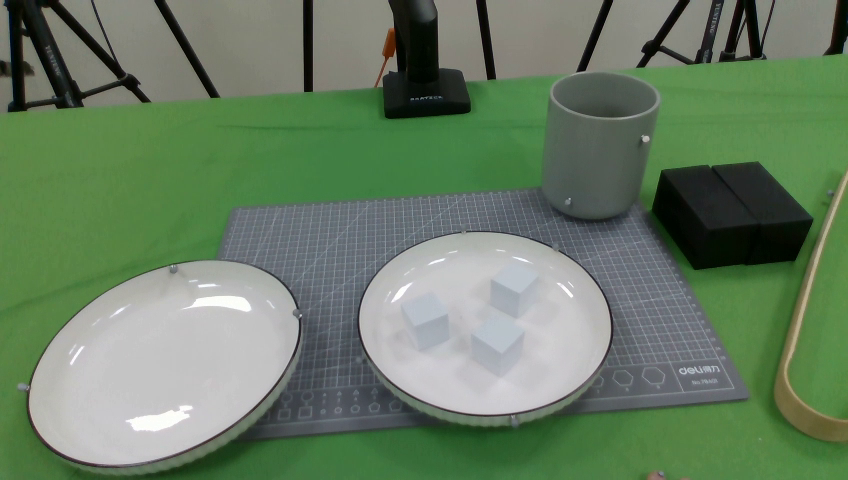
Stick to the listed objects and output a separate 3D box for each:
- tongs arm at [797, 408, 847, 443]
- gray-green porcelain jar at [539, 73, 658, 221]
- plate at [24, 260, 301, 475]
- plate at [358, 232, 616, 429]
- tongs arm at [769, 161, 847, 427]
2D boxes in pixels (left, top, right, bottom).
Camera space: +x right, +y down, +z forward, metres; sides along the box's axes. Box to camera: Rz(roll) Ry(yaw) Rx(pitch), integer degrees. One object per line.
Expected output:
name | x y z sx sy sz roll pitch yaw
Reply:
tongs arm | 0.430 0.051 0.516 0.385 0.027 0.050 -32 48 -29
gray-green porcelain jar | 0.175 -0.092 0.627 0.106 0.127 0.105 -2 40 2
plate | -0.201 0.098 0.489 0.209 0.038 0.207 -3 40 3
plate | 0.051 0.072 0.506 0.207 0.039 0.205 -1 39 2
tongs arm | 0.371 0.019 0.561 0.028 0.028 0.386 25 48 25
